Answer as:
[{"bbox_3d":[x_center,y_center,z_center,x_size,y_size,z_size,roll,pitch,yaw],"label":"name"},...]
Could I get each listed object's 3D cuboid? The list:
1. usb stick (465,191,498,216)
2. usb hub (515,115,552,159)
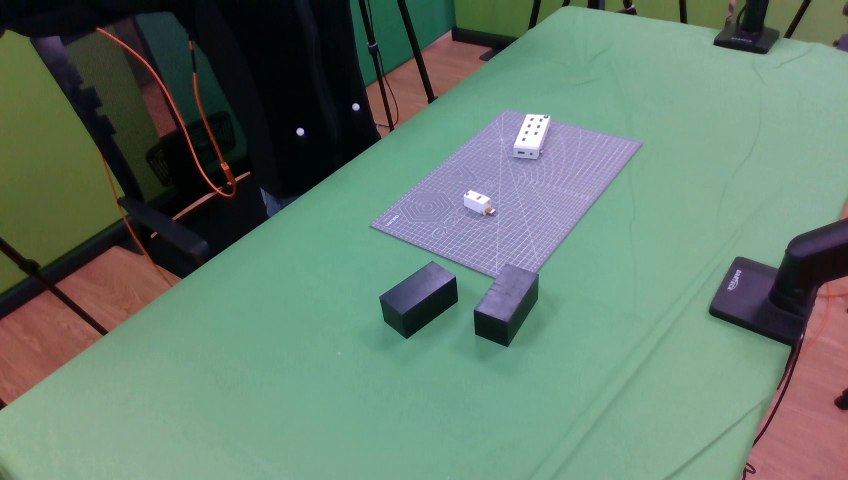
[{"bbox_3d":[0.099,-0.061,1.026,0.058,0.027,0.021,30,51,33],"label":"usb stick"},{"bbox_3d":[0.213,-0.201,1.173,0.049,0.025,0.125,9,44,18],"label":"usb hub"}]
